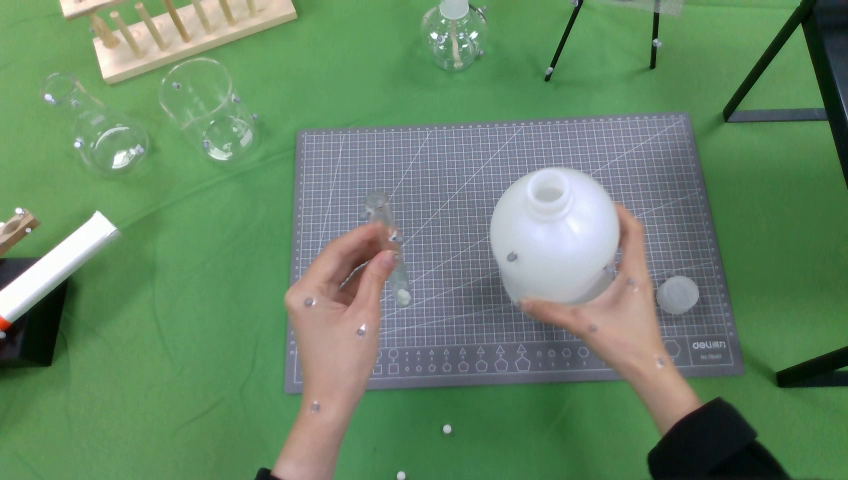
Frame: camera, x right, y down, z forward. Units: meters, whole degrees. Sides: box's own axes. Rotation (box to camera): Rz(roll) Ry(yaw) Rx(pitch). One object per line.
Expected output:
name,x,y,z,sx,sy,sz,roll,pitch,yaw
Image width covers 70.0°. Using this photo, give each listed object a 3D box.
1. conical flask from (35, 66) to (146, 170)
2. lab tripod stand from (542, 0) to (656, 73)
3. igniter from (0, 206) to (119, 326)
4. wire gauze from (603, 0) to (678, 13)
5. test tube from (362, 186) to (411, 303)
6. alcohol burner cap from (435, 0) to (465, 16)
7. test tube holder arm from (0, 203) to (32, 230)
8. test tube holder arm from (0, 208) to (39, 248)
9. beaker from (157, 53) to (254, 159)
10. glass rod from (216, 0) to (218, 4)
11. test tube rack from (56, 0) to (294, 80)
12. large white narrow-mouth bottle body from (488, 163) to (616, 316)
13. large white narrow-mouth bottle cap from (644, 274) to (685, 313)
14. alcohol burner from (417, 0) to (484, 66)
conical flask,-0.357,-0.132,0.643,0.075,0.122,0.075,-1,69,2
lab tripod stand,0.200,-0.260,0.671,0.148,0.132,0.147,0,68,0
igniter,-0.412,0.069,0.570,0.057,0.025,0.276,41,72,13
wire gauze,0.205,-0.286,0.609,0.121,0.011,0.124,18,72,6
test tube,-0.024,0.010,0.444,0.017,0.151,0.017,-3,59,5
alcohol burner cap,0.028,-0.269,0.651,0.034,0.048,0.033,0,68,1
test tube holder arm,-0.458,0.030,0.588,0.013,0.015,0.178,40,75,14
test tube holder arm,-0.424,0.002,0.599,0.010,0.015,0.088,42,75,15
beaker,-0.232,-0.137,0.654,0.074,0.101,0.083,12,70,7
glass rod,-0.268,-0.339,0.667,0.008,0.201,0.008,-3,63,7
test tube rack,-0.287,-0.280,0.716,0.242,0.086,0.066,-22,70,-7
large white narrow-mouth bottle body,0.105,-0.005,0.498,0.101,0.196,0.101,-5,69,14
large white narrow-mouth bottle cap,0.243,0.054,0.610,0.038,0.024,0.037,-1,71,2
alcohol burner,0.030,-0.255,0.684,0.078,0.120,0.077,0,67,0
